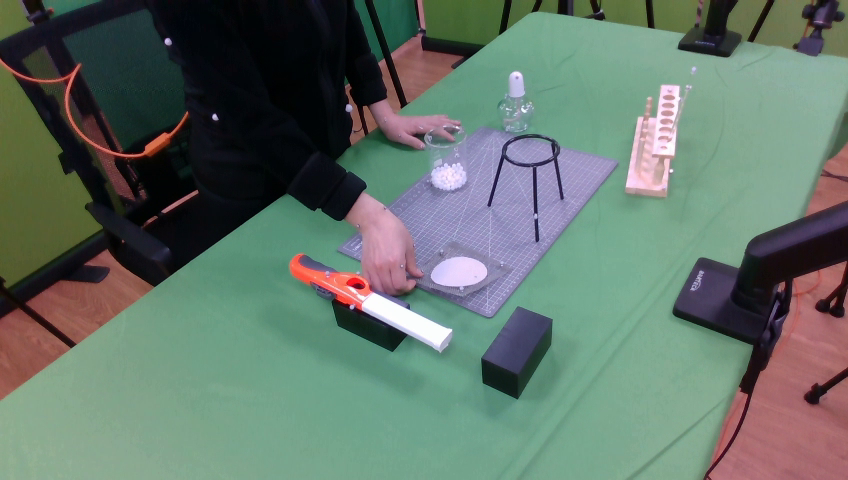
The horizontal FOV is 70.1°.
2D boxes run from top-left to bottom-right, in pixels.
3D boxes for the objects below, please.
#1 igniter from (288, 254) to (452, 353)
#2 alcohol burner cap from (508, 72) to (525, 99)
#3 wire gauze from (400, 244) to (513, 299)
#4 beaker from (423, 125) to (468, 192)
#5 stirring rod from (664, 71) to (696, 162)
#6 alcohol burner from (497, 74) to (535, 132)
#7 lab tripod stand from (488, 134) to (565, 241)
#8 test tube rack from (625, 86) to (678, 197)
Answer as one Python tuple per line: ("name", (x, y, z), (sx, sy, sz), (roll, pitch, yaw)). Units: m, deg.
("igniter", (-0.083, 0.080, 0.818), (0.274, 0.025, 0.057), (23, 46, 27))
("alcohol burner cap", (0.181, -0.306, 1.186), (0.034, 0.048, 0.033), (-7, 39, 6))
("wire gauze", (0.049, 0.047, 0.912), (0.120, 0.011, 0.126), (20, 36, 38))
("beaker", (0.043, -0.144, 1.077), (0.073, 0.100, 0.084), (28, 51, 34))
("stirring rod", (0.410, -0.196, 0.981), (0.014, 0.177, 0.006), (11, 50, 13))
("alcohol burner", (0.184, -0.278, 1.210), (0.078, 0.119, 0.077), (-3, 42, 3))
("lab tripod stand", (0.168, -0.092, 0.972), (0.148, 0.132, 0.147), (-5, 41, 5))
("test tube rack", (0.412, -0.184, 1.088), (0.066, 0.085, 0.242), (9, 43, 18))
